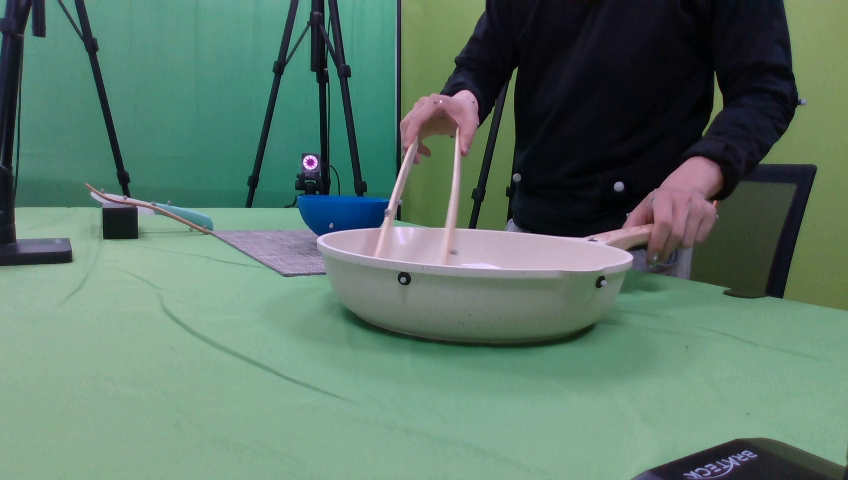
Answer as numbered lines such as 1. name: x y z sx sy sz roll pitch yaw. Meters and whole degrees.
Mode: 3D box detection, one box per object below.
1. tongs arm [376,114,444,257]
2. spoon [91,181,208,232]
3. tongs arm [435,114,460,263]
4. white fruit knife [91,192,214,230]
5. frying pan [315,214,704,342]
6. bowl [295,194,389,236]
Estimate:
1. tongs arm: -0.011 -0.063 0.725 0.051 0.026 0.384 -2 34 7
2. spoon: -0.461 -0.053 1.023 0.195 0.021 0.041 22 25 -24
3. tongs arm: 0.025 -0.063 0.720 0.028 0.028 0.387 -5 34 9
4. white fruit knife: -0.477 -0.055 1.077 0.208 0.027 0.016 15 -5 -30
5. frying pan: 0.133 0.014 0.629 0.490 0.102 0.305 -11 13 -29
6. bowl: -0.132 -0.032 0.980 0.151 0.077 0.151 2 7 0
